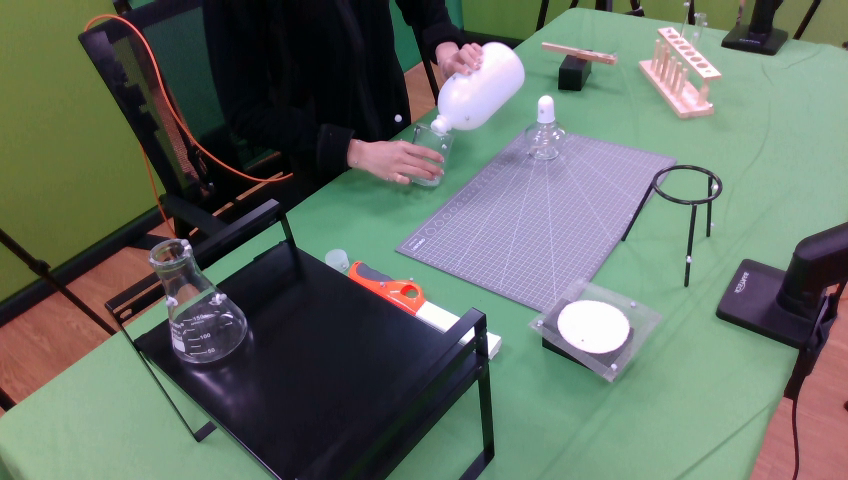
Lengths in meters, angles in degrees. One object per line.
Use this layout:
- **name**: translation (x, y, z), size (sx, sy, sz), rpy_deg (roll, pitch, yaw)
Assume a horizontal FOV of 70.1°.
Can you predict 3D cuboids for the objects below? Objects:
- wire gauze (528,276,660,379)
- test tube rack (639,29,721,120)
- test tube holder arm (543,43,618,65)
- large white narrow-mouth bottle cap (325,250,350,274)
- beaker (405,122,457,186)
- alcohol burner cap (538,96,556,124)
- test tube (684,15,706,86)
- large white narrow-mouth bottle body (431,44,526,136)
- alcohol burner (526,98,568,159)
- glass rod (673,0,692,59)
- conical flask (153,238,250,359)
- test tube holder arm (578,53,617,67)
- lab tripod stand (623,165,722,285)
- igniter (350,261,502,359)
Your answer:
- **wire gauze**: translation (0.213, 0.103, 0.763), size (0.124, 0.011, 0.122), rpy_deg (30, 52, 35)
- **test tube rack**: translation (0.527, -0.351, 1.262), size (0.067, 0.085, 0.241), rpy_deg (-8, 40, 1)
- **test tube holder arm**: translation (0.344, -0.413, 1.340), size (0.177, 0.015, 0.013), rpy_deg (25, 51, 31)
- **large white narrow-mouth bottle cap**: translation (-0.138, 0.035, 0.966), size (0.038, 0.024, 0.037), rpy_deg (-4, 41, 4)
- **beaker**: translation (0.012, -0.154, 1.092), size (0.073, 0.100, 0.084), rpy_deg (28, 19, 31)
- **alcohol burner cap**: translation (0.222, -0.237, 1.095), size (0.034, 0.048, 0.033), rpy_deg (-7, 35, 5)
- **test tube**: translation (0.541, -0.378, 1.216), size (0.017, 0.151, 0.017), rpy_deg (-2, 44, 3)
- **large white narrow-mouth bottle body**: translation (0.089, -0.261, 1.098), size (0.195, 0.102, 0.101), rpy_deg (-44, 50, -15)
- **alcohol burner**: translation (0.228, -0.210, 1.118), size (0.078, 0.119, 0.077), rpy_deg (-5, 43, 5)
- **glass rod**: translation (0.537, -0.437, 1.257), size (0.008, 0.200, 0.008), rpy_deg (0, 39, 1)
- **conical flask**: translation (-0.225, 0.055, 0.597), size (0.075, 0.122, 0.075), rpy_deg (-5, 41, 4)
- **test tube holder arm**: translation (0.376, -0.393, 1.314), size (0.087, 0.015, 0.010), rpy_deg (26, 51, 32)
- **lab tripod stand**: translation (0.365, -0.030, 0.874), size (0.148, 0.132, 0.147), rpy_deg (-6, 41, 6)
- **igniter**: translation (-0.009, 0.094, 0.870), size (0.274, 0.025, 0.057), rpy_deg (25, 61, 33)
